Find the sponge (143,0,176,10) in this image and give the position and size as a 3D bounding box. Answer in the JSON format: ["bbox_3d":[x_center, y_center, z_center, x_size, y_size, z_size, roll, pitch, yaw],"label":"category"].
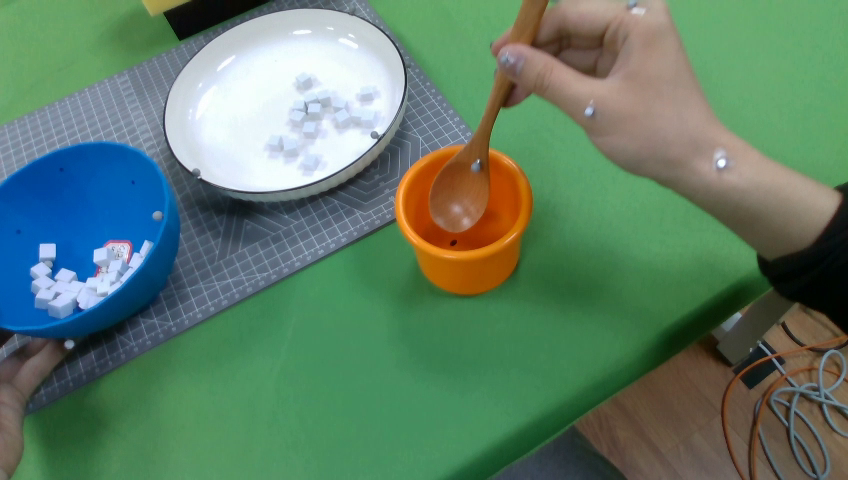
[{"bbox_3d":[-0.189,-0.311,0.570,0.207,0.061,0.117,-27,62,-9],"label":"sponge"}]

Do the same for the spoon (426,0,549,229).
[{"bbox_3d":[0.042,-0.080,0.363,0.041,0.195,0.021,27,45,6],"label":"spoon"}]

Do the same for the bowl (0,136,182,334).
[{"bbox_3d":[-0.239,0.007,0.443,0.151,0.077,0.150,-3,61,6],"label":"bowl"}]

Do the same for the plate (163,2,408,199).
[{"bbox_3d":[-0.116,-0.119,0.522,0.209,0.038,0.207,-3,61,5],"label":"plate"}]
